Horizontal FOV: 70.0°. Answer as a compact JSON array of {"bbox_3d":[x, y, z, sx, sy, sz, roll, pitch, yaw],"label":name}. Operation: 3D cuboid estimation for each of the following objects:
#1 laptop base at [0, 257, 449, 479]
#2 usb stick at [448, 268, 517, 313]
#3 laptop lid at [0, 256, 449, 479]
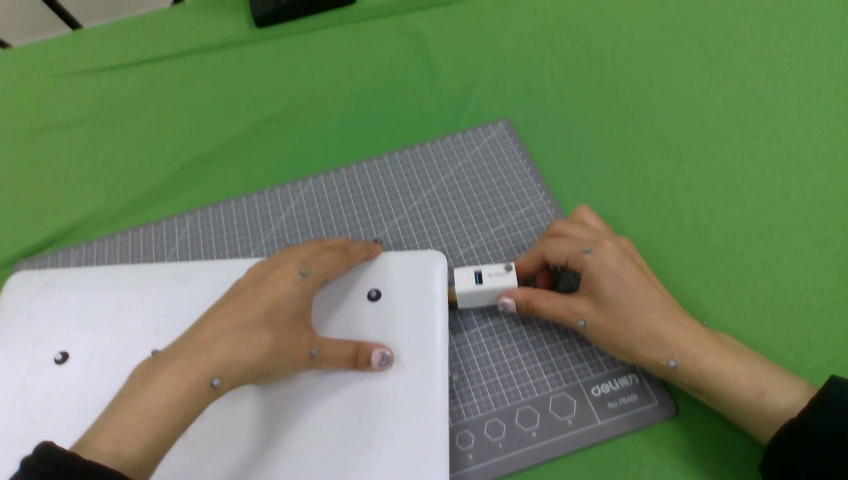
[{"bbox_3d":[-0.158,0.121,0.416,0.354,0.023,0.233,-3,57,5],"label":"laptop base"},{"bbox_3d":[0.036,0.037,0.436,0.059,0.027,0.021,-8,53,7],"label":"usb stick"},{"bbox_3d":[-0.160,0.116,0.405,0.356,0.013,0.239,-2,56,6],"label":"laptop lid"}]
